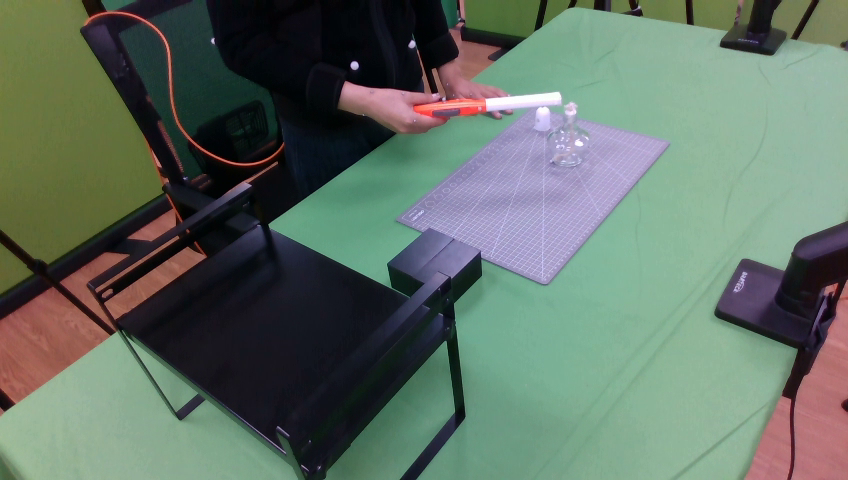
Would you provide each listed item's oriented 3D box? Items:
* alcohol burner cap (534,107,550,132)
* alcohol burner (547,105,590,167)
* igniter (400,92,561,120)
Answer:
[{"bbox_3d":[0.235,-0.243,1.206,0.034,0.048,0.033,-4,38,3],"label":"alcohol burner cap"},{"bbox_3d":[0.261,-0.192,1.087,0.078,0.119,0.077,-5,43,5],"label":"alcohol burner"},{"bbox_3d":[0.096,-0.232,1.046,0.276,0.025,0.057,-4,31,3],"label":"igniter"}]
